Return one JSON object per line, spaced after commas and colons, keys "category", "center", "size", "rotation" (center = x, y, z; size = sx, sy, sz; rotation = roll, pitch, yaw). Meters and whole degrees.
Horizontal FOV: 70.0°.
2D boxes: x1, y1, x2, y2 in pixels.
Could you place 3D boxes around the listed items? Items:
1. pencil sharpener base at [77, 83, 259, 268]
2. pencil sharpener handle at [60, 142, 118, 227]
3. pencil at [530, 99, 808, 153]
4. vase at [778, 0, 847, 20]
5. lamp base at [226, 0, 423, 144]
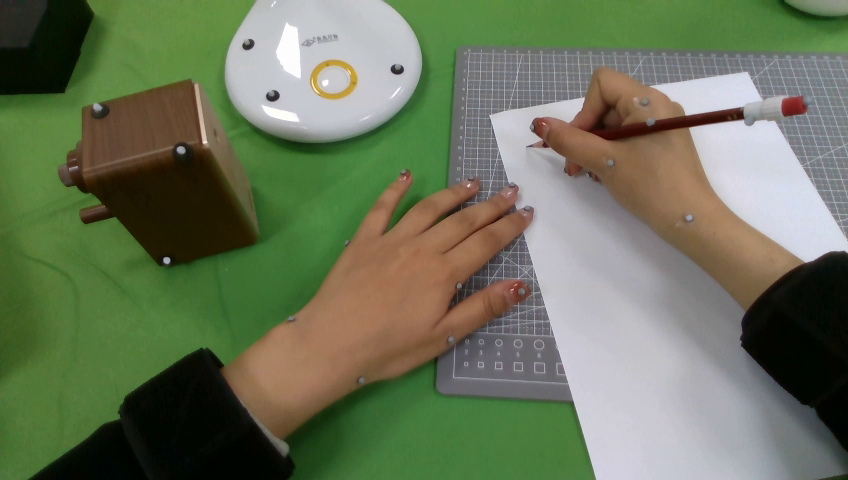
{"category": "pencil sharpener base", "center": [-0.161, -0.037, 0.392], "size": [0.077, 0.108, 0.061], "rotation": [-16, 60, -6]}
{"category": "pencil sharpener handle", "center": [-0.210, -0.030, 0.376], "size": [0.031, 0.068, 0.035], "rotation": [-16, 62, -6]}
{"category": "pencil", "center": [0.135, -0.066, 0.378], "size": [0.012, 0.012, 0.193], "rotation": [-50, 26, -23]}
{"category": "vase", "center": [0.341, -0.269, 0.454], "size": [0.098, 0.202, 0.097], "rotation": [-2, 58, 3]}
{"category": "lamp base", "center": [-0.091, -0.191, 0.438], "size": [0.161, 0.182, 0.177], "rotation": [-25, 59, -12]}
